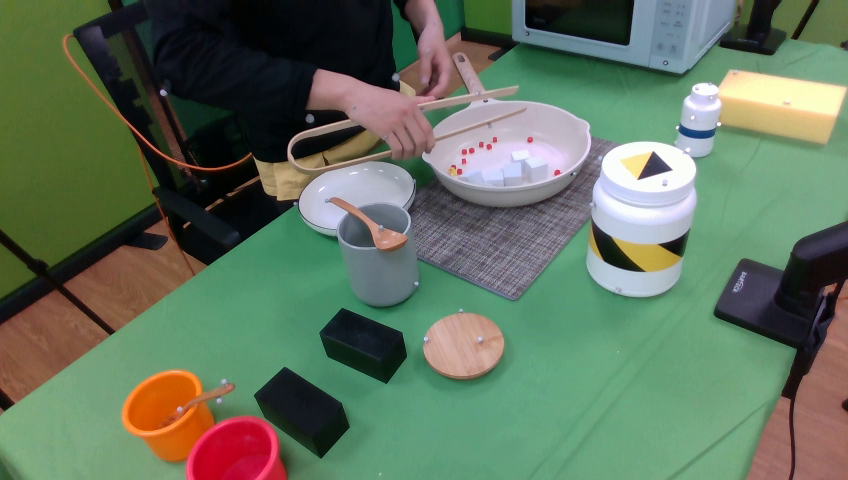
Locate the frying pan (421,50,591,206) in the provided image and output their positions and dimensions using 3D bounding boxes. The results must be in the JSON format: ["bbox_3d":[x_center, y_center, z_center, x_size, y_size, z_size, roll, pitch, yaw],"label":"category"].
[{"bbox_3d":[0.127,-0.233,1.155,0.307,0.103,0.484,-10,49,-5],"label":"frying pan"}]

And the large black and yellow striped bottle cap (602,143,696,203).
[{"bbox_3d":[0.289,-0.088,0.779,0.115,0.019,0.114,-5,39,4],"label":"large black and yellow striped bottle cap"}]

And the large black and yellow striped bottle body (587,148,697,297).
[{"bbox_3d":[0.298,-0.026,0.835,0.131,0.185,0.130,-4,41,4],"label":"large black and yellow striped bottle body"}]

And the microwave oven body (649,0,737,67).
[{"bbox_3d":[0.475,-0.602,1.411,0.438,0.261,0.327,23,50,32],"label":"microwave oven body"}]

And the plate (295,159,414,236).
[{"bbox_3d":[-0.118,-0.070,1.055,0.207,0.039,0.206,-5,40,5],"label":"plate"}]

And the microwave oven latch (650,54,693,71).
[{"bbox_3d":[0.531,-0.386,1.301,0.078,0.029,0.030,26,51,33],"label":"microwave oven latch"}]

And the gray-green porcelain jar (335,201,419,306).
[{"bbox_3d":[-0.064,0.024,0.872,0.106,0.127,0.105,-4,41,4],"label":"gray-green porcelain jar"}]

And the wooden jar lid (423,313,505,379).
[{"bbox_3d":[0.053,0.142,0.800,0.108,0.021,0.108,-5,39,4],"label":"wooden jar lid"}]

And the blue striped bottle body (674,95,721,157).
[{"bbox_3d":[0.486,-0.213,1.072,0.063,0.121,0.063,-4,41,4],"label":"blue striped bottle body"}]

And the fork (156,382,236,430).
[{"bbox_3d":[-0.262,0.189,0.690,0.018,0.206,0.028,49,43,-7],"label":"fork"}]

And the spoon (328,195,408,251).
[{"bbox_3d":[-0.083,-0.029,0.829,0.042,0.022,0.192,-32,42,-21],"label":"spoon"}]

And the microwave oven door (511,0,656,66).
[{"bbox_3d":[0.351,-0.540,1.349,0.353,0.245,0.039,24,50,31],"label":"microwave oven door"}]

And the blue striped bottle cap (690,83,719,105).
[{"bbox_3d":[0.481,-0.251,1.038,0.044,0.021,0.044,-5,40,5],"label":"blue striped bottle cap"}]

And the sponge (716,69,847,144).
[{"bbox_3d":[0.663,-0.256,1.142,0.205,0.061,0.118,19,47,28],"label":"sponge"}]

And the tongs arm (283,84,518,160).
[{"bbox_3d":[-0.026,-0.183,0.924,0.386,0.050,0.026,-13,-4,-16],"label":"tongs arm"}]

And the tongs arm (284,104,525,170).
[{"bbox_3d":[-0.018,-0.161,0.923,0.389,0.028,0.027,-17,1,-16],"label":"tongs arm"}]
